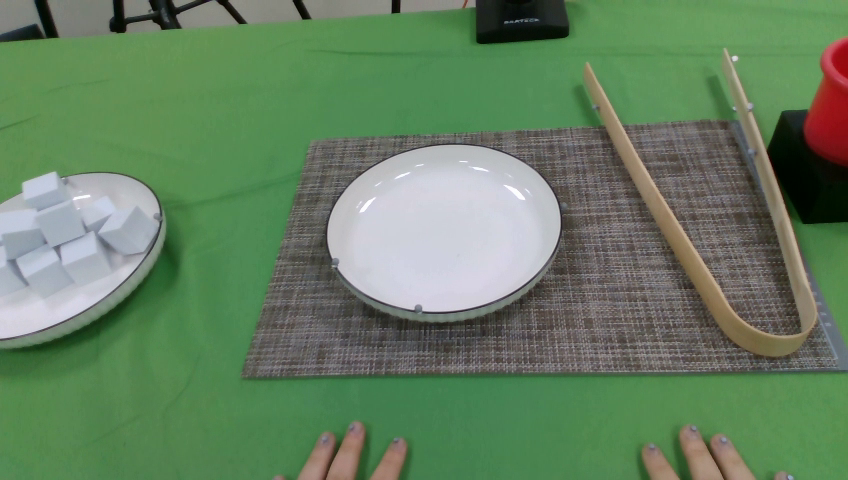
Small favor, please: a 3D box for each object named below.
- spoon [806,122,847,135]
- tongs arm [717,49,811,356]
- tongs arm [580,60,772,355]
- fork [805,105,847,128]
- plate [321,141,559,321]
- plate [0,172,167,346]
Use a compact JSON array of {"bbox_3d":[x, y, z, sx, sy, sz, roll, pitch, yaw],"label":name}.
[{"bbox_3d":[0.380,-0.110,0.446,0.041,0.193,0.021,-28,92,-24],"label":"spoon"},{"bbox_3d":[0.293,-0.064,0.561,0.050,0.027,0.381,2,48,7],"label":"tongs arm"},{"bbox_3d":[0.211,-0.059,0.568,0.028,0.028,0.383,-6,47,-5],"label":"tongs arm"},{"bbox_3d":[0.410,-0.142,0.472,0.207,0.019,0.028,-33,13,33],"label":"fork"},{"bbox_3d":[0.014,-0.009,0.542,0.207,0.039,0.205,-3,48,4],"label":"plate"},{"bbox_3d":[-0.343,0.016,0.569,0.209,0.038,0.207,-3,47,4],"label":"plate"}]
